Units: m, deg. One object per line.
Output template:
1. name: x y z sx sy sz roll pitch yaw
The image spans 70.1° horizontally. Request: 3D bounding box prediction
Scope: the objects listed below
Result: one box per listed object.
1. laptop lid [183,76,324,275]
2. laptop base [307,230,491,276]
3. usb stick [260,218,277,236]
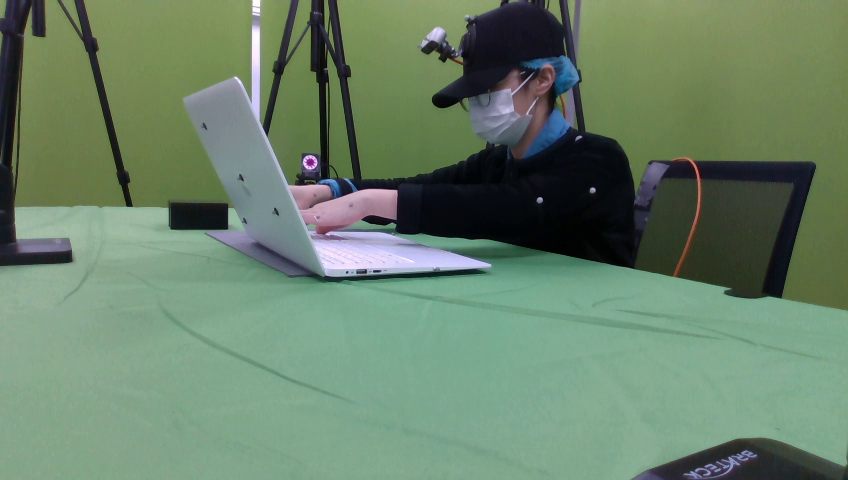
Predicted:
1. laptop lid: -0.237 -0.085 0.791 0.013 0.242 0.355 -29 22 -23
2. laptop base: -0.095 0.016 0.888 0.237 0.023 0.352 1 7 -30
3. usb stick: -0.261 -0.021 1.018 0.021 0.027 0.059 1 11 -26
